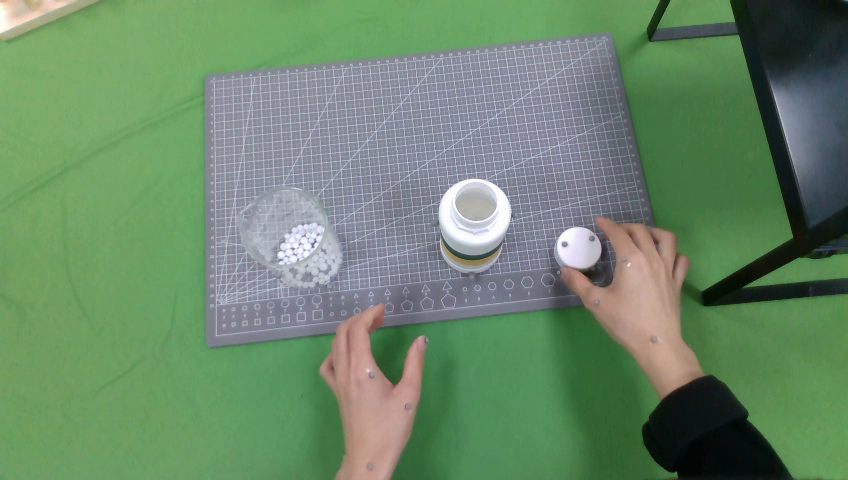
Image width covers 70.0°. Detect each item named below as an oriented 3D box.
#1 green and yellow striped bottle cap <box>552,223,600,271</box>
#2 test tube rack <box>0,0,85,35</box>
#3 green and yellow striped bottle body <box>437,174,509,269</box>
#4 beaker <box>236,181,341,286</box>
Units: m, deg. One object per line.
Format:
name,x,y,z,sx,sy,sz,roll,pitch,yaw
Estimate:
green and yellow striped bottle cap,0.149,0.006,0.595,0.045,0.020,0.045,-1,72,2
test tube rack,-0.389,-0.325,0.669,0.242,0.085,0.066,-26,74,-7
green and yellow striped bottle body,0.043,-0.018,0.549,0.063,0.120,0.063,0,73,2
beaker,-0.120,-0.001,0.559,0.084,0.101,0.073,14,74,6
